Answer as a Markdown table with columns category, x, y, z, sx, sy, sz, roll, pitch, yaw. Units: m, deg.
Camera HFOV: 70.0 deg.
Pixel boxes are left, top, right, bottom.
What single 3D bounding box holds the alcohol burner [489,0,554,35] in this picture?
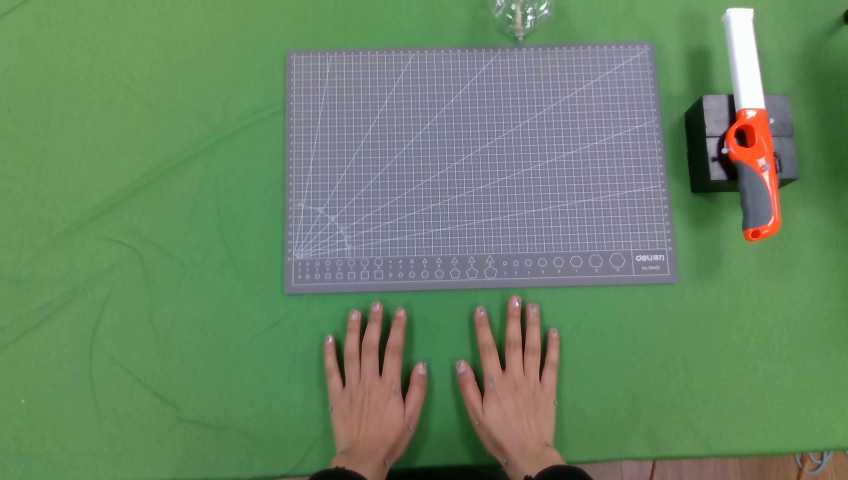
| category | x | y | z | sx | sy | sz | roll | pitch | yaw |
| --- | --- | --- | --- | --- | --- | --- | --- | --- | --- |
| alcohol burner | 0.116 | -0.290 | 0.700 | 0.078 | 0.119 | 0.077 | 0 | 80 | -2 |

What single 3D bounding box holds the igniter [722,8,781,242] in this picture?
| category | x | y | z | sx | sy | sz | roll | pitch | yaw |
| --- | --- | --- | --- | --- | --- | --- | --- | --- | --- |
| igniter | 0.359 | -0.131 | 0.670 | 0.057 | 0.025 | 0.275 | 2 | 76 | 0 |
